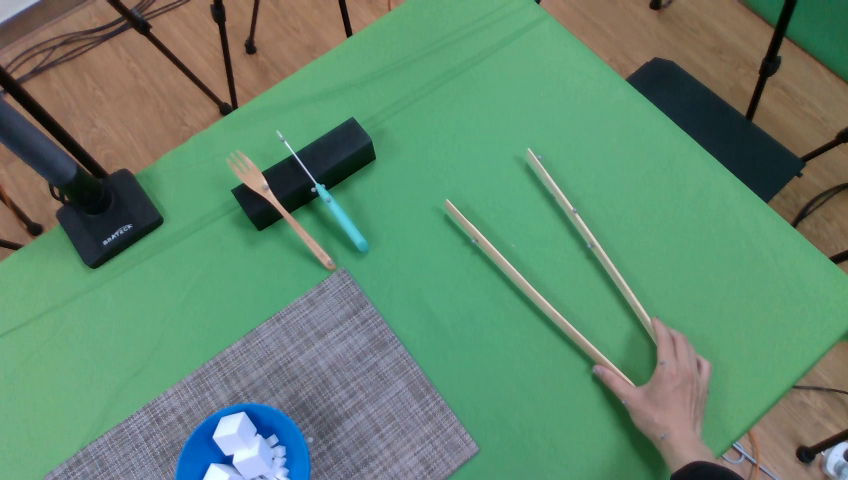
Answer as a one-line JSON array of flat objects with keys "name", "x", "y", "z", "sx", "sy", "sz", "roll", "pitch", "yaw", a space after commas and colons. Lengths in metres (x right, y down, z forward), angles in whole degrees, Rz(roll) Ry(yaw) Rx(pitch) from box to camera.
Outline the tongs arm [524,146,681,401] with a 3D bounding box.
[{"name": "tongs arm", "x": 0.221, "y": 0.034, "z": 0.805, "sx": 0.051, "sy": 0.027, "sz": 0.382, "roll": -28, "pitch": 71, "yaw": -11}]

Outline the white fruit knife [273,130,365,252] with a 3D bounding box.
[{"name": "white fruit knife", "x": -0.147, "y": -0.069, "z": 0.836, "sx": 0.016, "sy": 0.027, "sz": 0.207, "roll": -37, "pitch": 88, "yaw": -6}]

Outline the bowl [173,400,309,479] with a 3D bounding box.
[{"name": "bowl", "x": -0.200, "y": 0.268, "z": 0.701, "sx": 0.151, "sy": 0.077, "sz": 0.150, "roll": -1, "pitch": 67, "yaw": 2}]

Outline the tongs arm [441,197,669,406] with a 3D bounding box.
[{"name": "tongs arm", "x": 0.156, "y": 0.075, "z": 0.791, "sx": 0.028, "sy": 0.028, "sz": 0.385, "roll": -39, "pitch": 72, "yaw": -18}]

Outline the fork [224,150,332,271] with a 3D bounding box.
[{"name": "fork", "x": -0.196, "y": -0.038, "z": 0.826, "sx": 0.028, "sy": 0.018, "sz": 0.207, "roll": -42, "pitch": 92, "yaw": -18}]
